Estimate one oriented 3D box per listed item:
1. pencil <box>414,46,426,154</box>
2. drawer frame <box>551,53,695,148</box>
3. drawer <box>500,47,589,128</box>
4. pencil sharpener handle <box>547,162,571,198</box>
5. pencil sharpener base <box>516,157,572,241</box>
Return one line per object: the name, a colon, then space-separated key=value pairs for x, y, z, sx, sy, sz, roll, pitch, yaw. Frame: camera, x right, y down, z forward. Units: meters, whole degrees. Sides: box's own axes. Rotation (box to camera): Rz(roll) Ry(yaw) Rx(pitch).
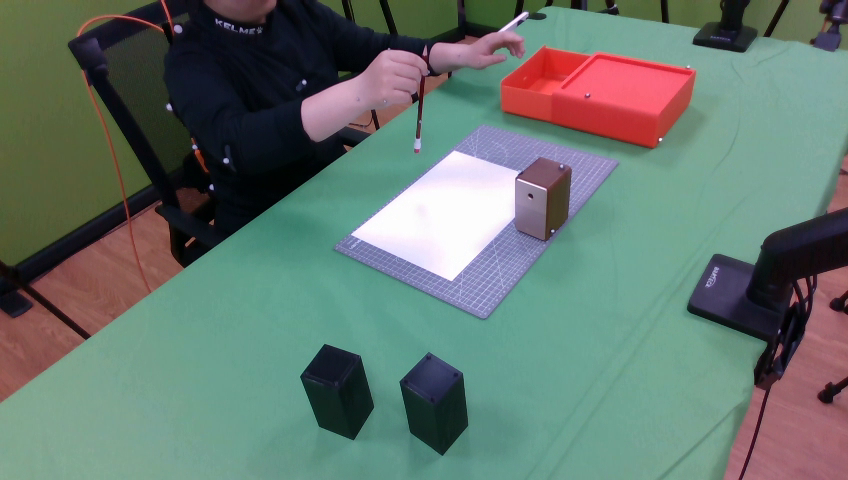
pencil: x=-0.006 y=-0.225 z=0.990 sx=0.012 sy=0.194 sz=0.012 roll=3 pitch=41 yaw=-2
drawer frame: x=0.391 y=-0.281 z=1.196 sx=0.212 sy=0.083 sz=0.202 roll=22 pitch=48 yaw=29
drawer: x=0.296 y=-0.316 z=1.256 sx=0.210 sy=0.073 sz=0.195 roll=22 pitch=48 yaw=29
pencil sharpener handle: x=0.221 y=-0.102 z=0.968 sx=0.035 sy=0.068 sz=0.031 roll=20 pitch=47 yaw=37
pencil sharpener base: x=0.189 y=-0.065 z=0.948 sx=0.061 sy=0.107 sz=0.077 roll=24 pitch=49 yaw=33
